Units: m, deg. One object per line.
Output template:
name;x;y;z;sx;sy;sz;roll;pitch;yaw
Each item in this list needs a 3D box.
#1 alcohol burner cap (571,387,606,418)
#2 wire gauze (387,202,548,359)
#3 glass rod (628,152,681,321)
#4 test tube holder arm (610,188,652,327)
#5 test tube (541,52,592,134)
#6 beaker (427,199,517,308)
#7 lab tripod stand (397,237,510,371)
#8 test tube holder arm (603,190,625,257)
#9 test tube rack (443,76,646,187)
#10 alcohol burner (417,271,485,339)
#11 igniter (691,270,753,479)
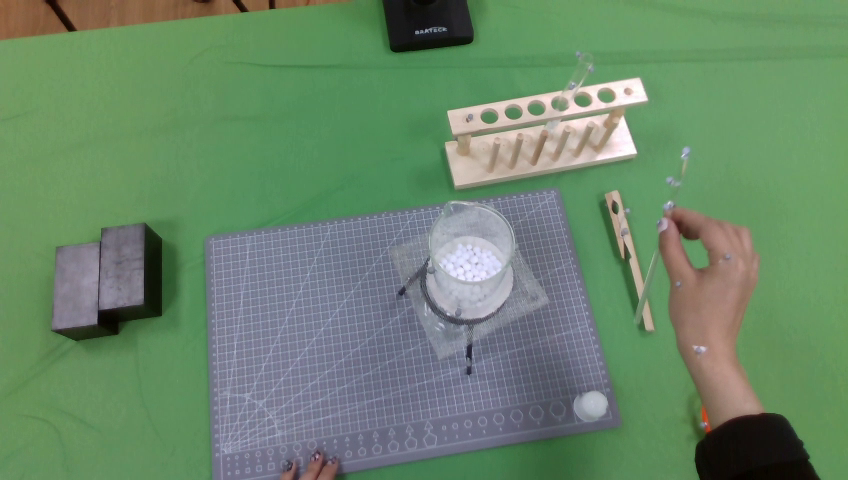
alcohol burner cap;0.183;0.176;0.666;0.034;0.048;0.033;0;69;-1
wire gauze;0.041;0.035;0.597;0.121;0.011;0.124;-25;73;-6
glass rod;0.215;0.005;0.574;0.008;0.201;0.008;0;38;0
test tube holder arm;0.252;0.019;0.740;0.013;0.015;0.177;-19;68;27
test tube;0.167;-0.170;0.723;0.017;0.151;0.017;3;67;-6
beaker;0.039;0.016;0.553;0.074;0.101;0.083;-23;71;-7
lab tripod stand;0.036;0.061;0.658;0.148;0.132;0.147;0;70;1
test tube holder arm;0.241;-0.021;0.758;0.010;0.015;0.087;-19;68;27
test tube rack;0.150;-0.135;0.762;0.242;0.086;0.066;-11;69;-5
alcohol burner;0.030;0.067;0.666;0.078;0.120;0.077;0;67;0
igniter;0.334;0.167;0.683;0.057;0.025;0.274;6;69;-9
